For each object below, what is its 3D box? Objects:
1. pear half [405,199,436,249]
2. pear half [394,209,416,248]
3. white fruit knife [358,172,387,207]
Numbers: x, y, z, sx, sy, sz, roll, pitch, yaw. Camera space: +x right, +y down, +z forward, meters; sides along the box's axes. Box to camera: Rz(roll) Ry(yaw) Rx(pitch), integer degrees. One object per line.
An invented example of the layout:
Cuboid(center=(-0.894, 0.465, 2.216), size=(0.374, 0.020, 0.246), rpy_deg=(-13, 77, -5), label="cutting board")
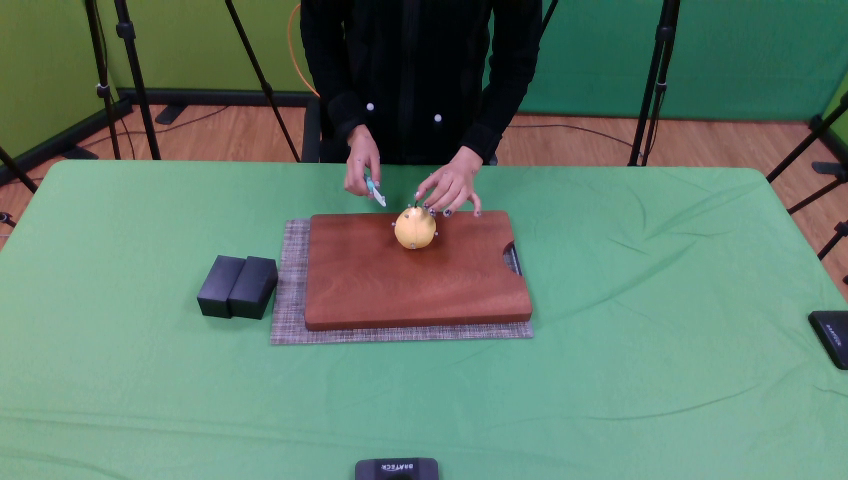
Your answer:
Cuboid(center=(-0.005, -0.038, 1.134), size=(0.056, 0.110, 0.076), rpy_deg=(-18, 54, -20), label="pear half")
Cuboid(center=(-0.038, -0.021, 1.129), size=(0.031, 0.088, 0.070), rpy_deg=(-19, 56, -21), label="pear half")
Cuboid(center=(-0.096, -0.096, 1.145), size=(0.016, 0.027, 0.206), rpy_deg=(-17, 25, -12), label="white fruit knife")
